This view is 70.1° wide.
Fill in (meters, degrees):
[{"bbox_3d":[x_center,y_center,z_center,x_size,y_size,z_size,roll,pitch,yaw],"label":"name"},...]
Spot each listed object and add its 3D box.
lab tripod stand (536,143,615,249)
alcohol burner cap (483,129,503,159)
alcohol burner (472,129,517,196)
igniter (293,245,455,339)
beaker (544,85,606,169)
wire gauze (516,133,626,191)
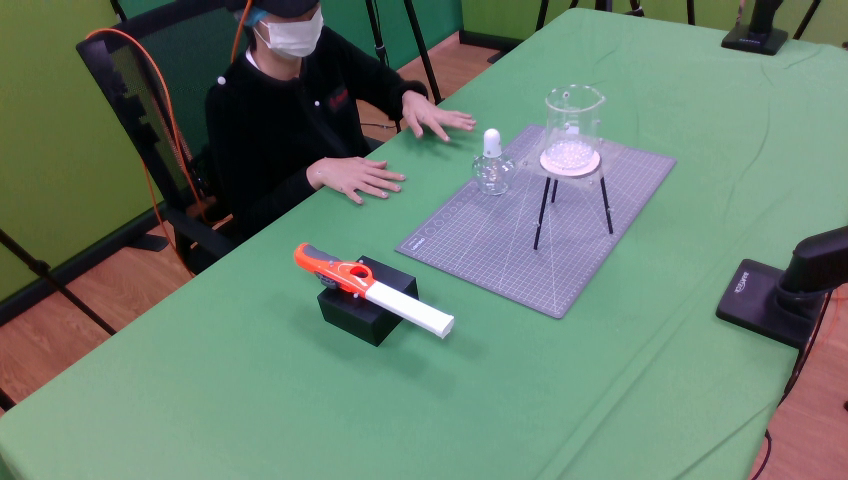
[{"bbox_3d":[0.224,-0.069,0.931,0.148,0.132,0.147,-4,42,4],"label":"lab tripod stand"},{"bbox_3d":[0.115,-0.163,1.021,0.034,0.048,0.033,-5,35,4],"label":"alcohol burner cap"},{"bbox_3d":[0.120,-0.136,1.044,0.078,0.119,0.077,-6,39,6],"label":"alcohol burner"},{"bbox_3d":[-0.079,0.066,0.834,0.274,0.025,0.057,23,48,27],"label":"igniter"},{"bbox_3d":[0.212,-0.158,0.861,0.084,0.101,0.073,-3,41,6],"label":"beaker"},{"bbox_3d":[0.217,-0.122,0.893,0.124,0.011,0.122,20,47,32],"label":"wire gauze"}]
